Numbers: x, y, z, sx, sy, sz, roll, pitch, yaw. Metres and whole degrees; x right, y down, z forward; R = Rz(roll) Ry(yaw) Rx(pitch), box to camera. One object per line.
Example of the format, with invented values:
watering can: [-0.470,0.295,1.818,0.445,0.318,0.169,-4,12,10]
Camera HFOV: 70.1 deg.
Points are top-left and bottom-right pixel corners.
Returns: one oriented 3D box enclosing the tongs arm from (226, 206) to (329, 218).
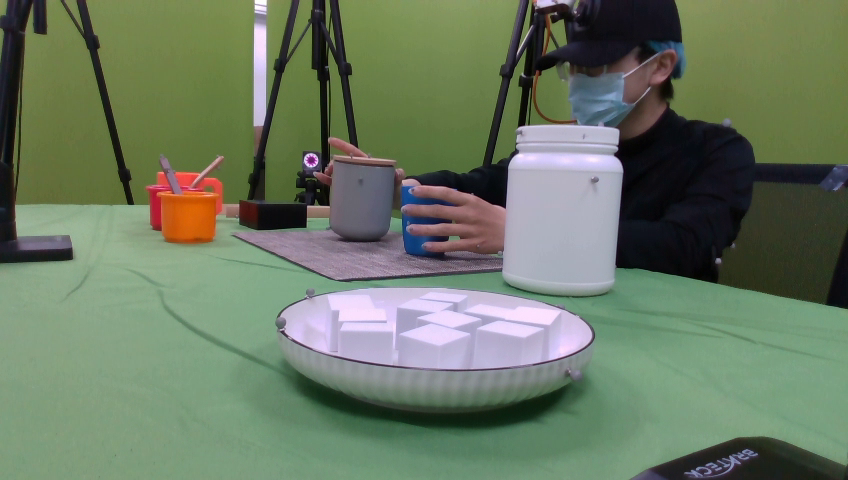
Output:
tongs arm: [-0.252,-0.062,1.361,0.387,0.026,0.050,-1,3,-32]

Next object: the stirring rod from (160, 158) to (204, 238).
stirring rod: [-0.391,-0.070,0.972,0.014,0.006,0.175,-1,49,-49]

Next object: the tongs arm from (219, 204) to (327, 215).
tongs arm: [-0.289,-0.069,1.435,0.389,0.027,0.028,1,-1,-18]

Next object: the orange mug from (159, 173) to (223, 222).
orange mug: [-0.477,-0.089,1.241,0.127,0.101,0.083,-8,12,-33]

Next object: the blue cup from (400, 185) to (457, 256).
blue cup: [0.004,-0.030,0.904,0.093,0.100,0.092,3,7,0]

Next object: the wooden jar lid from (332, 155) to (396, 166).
wooden jar lid: [-0.101,-0.129,1.015,0.108,0.020,0.108,4,10,0]

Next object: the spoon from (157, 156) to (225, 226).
spoon: [-0.425,-0.094,1.117,0.041,0.022,0.194,4,51,30]

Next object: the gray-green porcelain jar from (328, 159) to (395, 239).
gray-green porcelain jar: [-0.107,-0.069,1.027,0.106,0.126,0.106,6,11,-1]

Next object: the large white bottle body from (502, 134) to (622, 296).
large white bottle body: [0.161,-0.037,0.706,0.131,0.184,0.130,2,7,0]

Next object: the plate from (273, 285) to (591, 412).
plate: [0.005,0.069,0.408,0.208,0.039,0.207,2,7,0]

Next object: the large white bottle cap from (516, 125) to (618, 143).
large white bottle cap: [0.164,-0.120,0.695,0.115,0.018,0.115,2,7,0]
